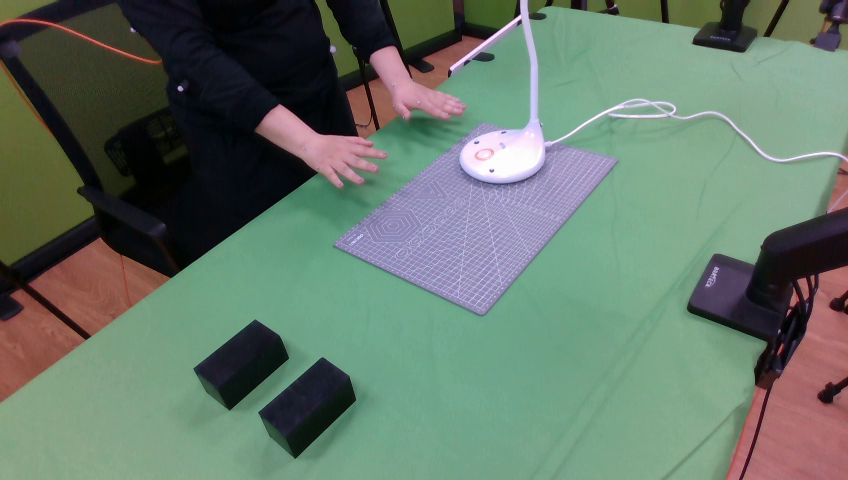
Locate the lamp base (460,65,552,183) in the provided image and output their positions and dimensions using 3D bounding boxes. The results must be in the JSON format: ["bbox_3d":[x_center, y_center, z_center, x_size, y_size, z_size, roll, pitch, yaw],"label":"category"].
[{"bbox_3d":[0.149,-0.218,1.078,0.180,0.181,0.159,-19,41,-17],"label":"lamp base"}]
